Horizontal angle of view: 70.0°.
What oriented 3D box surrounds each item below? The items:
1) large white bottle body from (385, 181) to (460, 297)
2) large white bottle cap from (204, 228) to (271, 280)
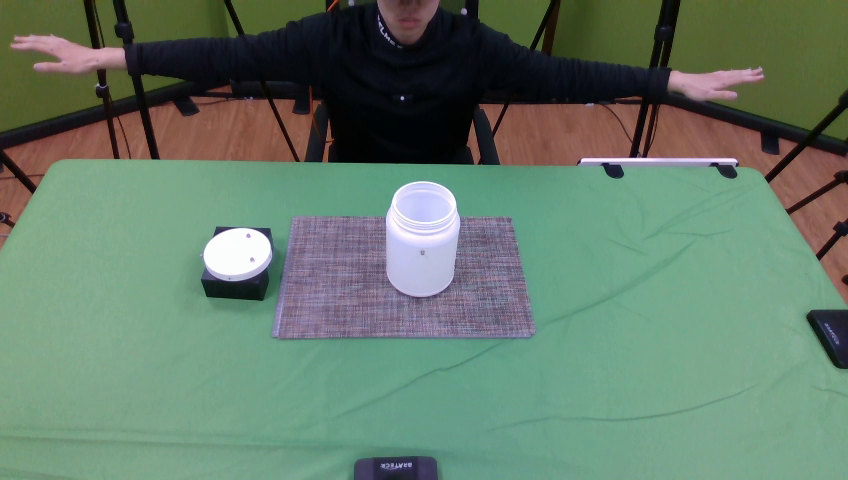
[{"bbox_3d":[-0.004,-0.003,1.082,0.131,0.185,0.130,2,46,-2],"label":"large white bottle body"},{"bbox_3d":[-0.333,0.024,1.084,0.115,0.018,0.114,2,46,-2],"label":"large white bottle cap"}]
